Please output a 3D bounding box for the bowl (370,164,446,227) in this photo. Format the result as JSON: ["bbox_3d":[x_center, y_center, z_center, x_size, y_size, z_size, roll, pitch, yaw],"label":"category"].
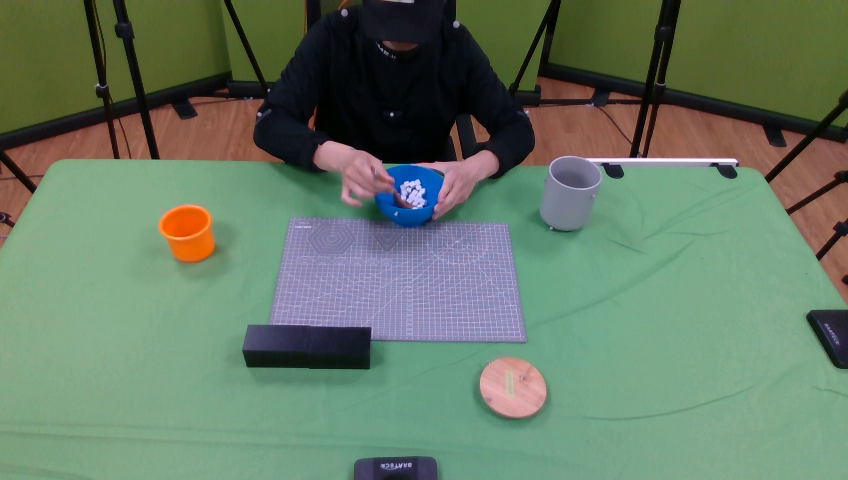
[{"bbox_3d":[-0.033,-0.079,1.230,0.151,0.077,0.150,2,42,-2],"label":"bowl"}]

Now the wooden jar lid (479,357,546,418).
[{"bbox_3d":[0.142,0.240,0.979,0.108,0.021,0.107,1,46,-1],"label":"wooden jar lid"}]

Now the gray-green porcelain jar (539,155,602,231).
[{"bbox_3d":[0.294,-0.091,1.235,0.106,0.127,0.105,2,46,-2],"label":"gray-green porcelain jar"}]

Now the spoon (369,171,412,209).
[{"bbox_3d":[-0.066,-0.097,1.167,0.041,0.194,0.021,33,84,24],"label":"spoon"}]
